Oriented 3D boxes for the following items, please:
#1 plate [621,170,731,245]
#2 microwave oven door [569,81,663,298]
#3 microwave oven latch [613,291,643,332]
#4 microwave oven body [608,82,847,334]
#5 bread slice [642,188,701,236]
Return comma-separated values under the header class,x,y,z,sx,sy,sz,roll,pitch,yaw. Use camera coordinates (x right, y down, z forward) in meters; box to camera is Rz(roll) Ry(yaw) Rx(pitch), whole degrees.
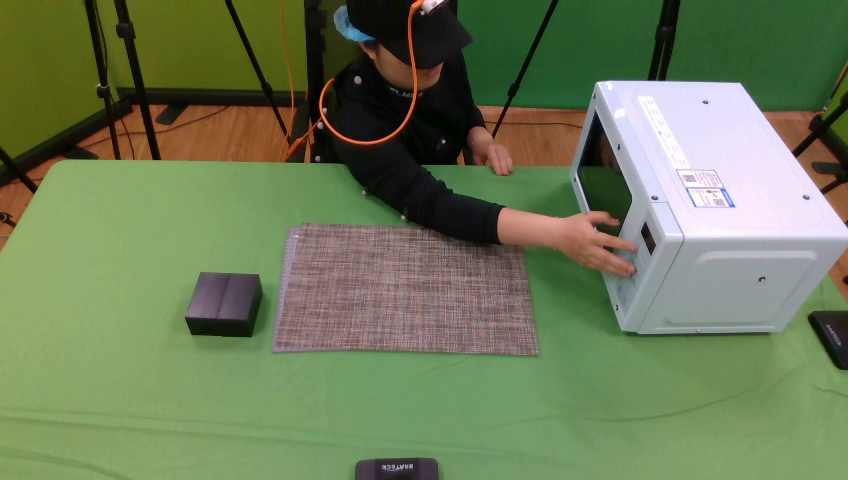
class,x,y,z,sx,sy,sz,roll,pitch,yaw
plate,0.490,-0.061,1.193,0.209,0.038,0.208,2,45,-2
microwave oven door,0.353,-0.103,1.147,0.039,0.245,0.353,0,46,-4
microwave oven latch,0.358,0.125,1.068,0.030,0.029,0.078,1,45,-2
microwave oven body,0.501,-0.069,1.132,0.326,0.261,0.438,-1,45,-4
bread slice,0.494,-0.057,1.196,0.105,0.019,0.131,6,43,4
